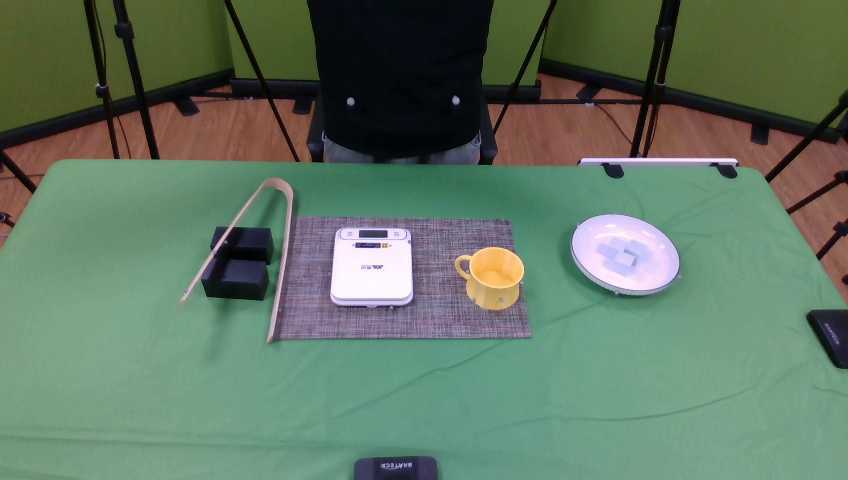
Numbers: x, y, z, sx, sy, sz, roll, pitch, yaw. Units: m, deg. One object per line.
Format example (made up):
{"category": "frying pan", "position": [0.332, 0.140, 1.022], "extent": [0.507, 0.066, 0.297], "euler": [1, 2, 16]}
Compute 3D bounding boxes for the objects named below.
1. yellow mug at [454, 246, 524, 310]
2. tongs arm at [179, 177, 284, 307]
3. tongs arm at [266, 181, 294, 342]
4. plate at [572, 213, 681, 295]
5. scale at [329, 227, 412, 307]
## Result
{"category": "yellow mug", "position": [0.115, 0.064, 1.111], "extent": [0.130, 0.064, 0.099], "euler": [21, 49, 17]}
{"category": "tongs arm", "position": [-0.342, -0.008, 1.118], "extent": [0.051, 0.026, 0.382], "euler": [29, 38, -14]}
{"category": "tongs arm", "position": [-0.273, 0.027, 1.144], "extent": [0.028, 0.028, 0.385], "euler": [17, 42, -22]}
{"category": "plate", "position": [0.392, 0.030, 1.189], "extent": [0.208, 0.039, 0.206], "euler": [2, 46, -2]}
{"category": "scale", "position": [-0.099, 0.042, 1.139], "extent": [0.149, 0.032, 0.199], "euler": [1, 46, -4]}
